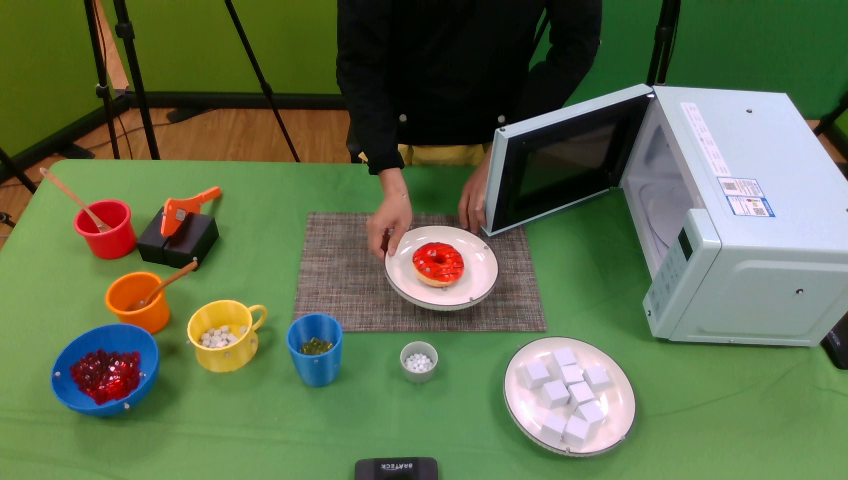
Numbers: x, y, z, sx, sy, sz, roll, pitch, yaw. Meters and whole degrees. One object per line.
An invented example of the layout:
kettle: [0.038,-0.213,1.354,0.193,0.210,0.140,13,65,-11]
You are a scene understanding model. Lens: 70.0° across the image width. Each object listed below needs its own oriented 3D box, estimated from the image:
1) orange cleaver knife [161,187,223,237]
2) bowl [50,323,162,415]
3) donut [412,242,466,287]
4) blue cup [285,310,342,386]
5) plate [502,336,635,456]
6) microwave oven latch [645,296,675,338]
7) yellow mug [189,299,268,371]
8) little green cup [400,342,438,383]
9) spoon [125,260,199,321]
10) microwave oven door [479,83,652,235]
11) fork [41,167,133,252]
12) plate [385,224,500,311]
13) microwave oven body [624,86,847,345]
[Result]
orange cleaver knife: [-0.448,-0.058,1.181,0.012,0.077,0.211,13,17,6]
bowl: [-0.472,0.209,0.924,0.151,0.077,0.150,3,45,-2]
donut: [0.027,0.044,1.085,0.099,0.048,0.098,5,42,-4]
blue cup: [-0.170,0.179,0.958,0.093,0.101,0.092,2,44,-1]
plate: [0.225,0.248,0.963,0.208,0.039,0.206,2,46,-2]
microwave oven latch: [0.412,0.134,1.061,0.030,0.029,0.078,3,45,0]
yellow mug: [-0.316,0.148,1.002,0.131,0.064,0.099,-32,56,-31]
little green cup: [-0.009,0.202,0.991,0.061,0.039,0.061,2,47,-2]
spoon: [-0.434,0.083,0.999,0.022,0.194,0.041,35,34,-34]
microwave oven door: [0.279,-0.161,1.195,0.356,0.245,0.039,-20,51,-22]
fork: [-0.624,-0.056,1.121,0.208,0.018,0.028,49,51,-15]
plate: [0.032,0.052,1.092,0.209,0.038,0.208,3,42,-3]
microwave oven body: [0.567,-0.053,1.118,0.326,0.261,0.439,2,45,-1]
